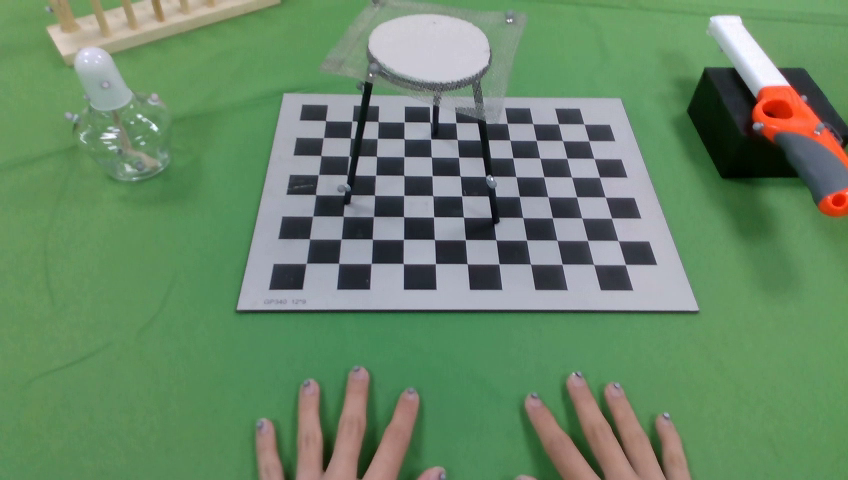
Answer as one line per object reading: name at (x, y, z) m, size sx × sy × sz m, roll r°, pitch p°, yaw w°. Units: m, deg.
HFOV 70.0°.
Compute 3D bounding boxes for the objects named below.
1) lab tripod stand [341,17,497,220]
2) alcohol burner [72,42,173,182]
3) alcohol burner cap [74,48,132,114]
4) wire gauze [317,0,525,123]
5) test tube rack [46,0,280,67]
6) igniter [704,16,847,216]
lab tripod stand at (0.004, -0.093, 0.479) m, size 0.148 × 0.132 × 0.147 m, roll 3°, pitch 49°, yaw -3°
alcohol burner at (-0.253, -0.106, 0.496) m, size 0.078 × 0.120 × 0.077 m, roll 0°, pitch 50°, yaw 0°
alcohol burner cap at (-0.253, -0.126, 0.472) m, size 0.034 × 0.048 × 0.033 m, roll -1°, pitch 50°, yaw 1°
wire gauze at (0.003, -0.134, 0.425) m, size 0.125 × 0.011 × 0.120 m, roll 14°, pitch 50°, yaw 8°
test tube rack at (-0.288, -0.277, 0.658) m, size 0.242 × 0.086 × 0.066 m, roll -27°, pitch 56°, yaw -23°
igniter at (0.306, -0.122, 0.531) m, size 0.057 × 0.025 × 0.273 m, roll -2°, pitch 48°, yaw 0°
